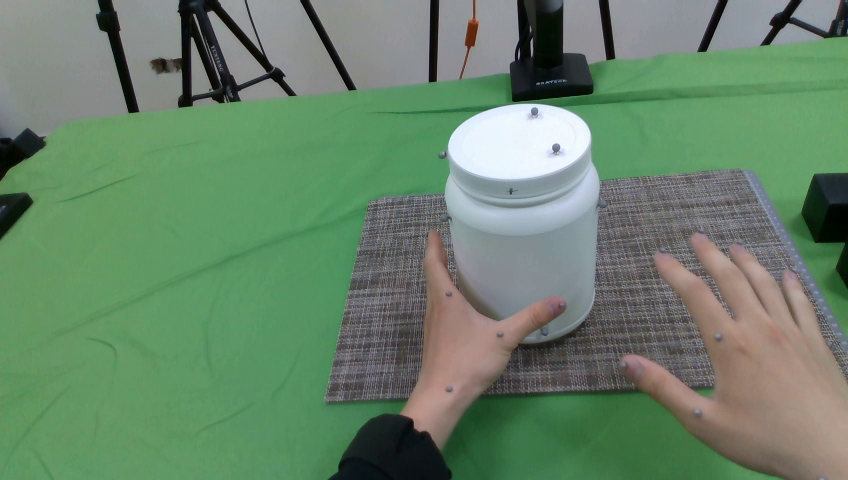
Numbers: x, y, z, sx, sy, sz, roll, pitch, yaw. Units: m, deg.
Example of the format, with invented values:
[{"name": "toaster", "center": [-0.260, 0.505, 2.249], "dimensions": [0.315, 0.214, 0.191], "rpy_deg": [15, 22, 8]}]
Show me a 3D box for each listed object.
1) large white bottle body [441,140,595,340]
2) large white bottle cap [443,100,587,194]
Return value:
[{"name": "large white bottle body", "center": [0.086, -0.015, 0.545], "dimensions": [0.130, 0.186, 0.129], "rpy_deg": [-6, 41, 6]}, {"name": "large white bottle cap", "center": [0.072, -0.078, 0.489], "dimensions": [0.115, 0.018, 0.113], "rpy_deg": [-6, 40, 6]}]
